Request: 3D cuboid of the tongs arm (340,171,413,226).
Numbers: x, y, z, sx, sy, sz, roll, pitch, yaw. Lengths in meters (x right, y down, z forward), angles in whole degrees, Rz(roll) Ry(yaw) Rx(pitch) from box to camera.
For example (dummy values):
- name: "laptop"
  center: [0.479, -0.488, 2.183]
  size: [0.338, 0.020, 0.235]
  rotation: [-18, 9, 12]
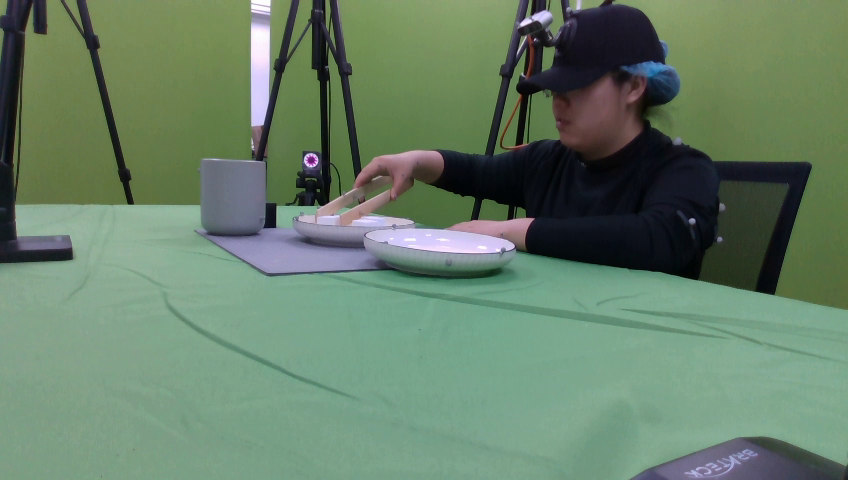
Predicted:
- name: "tongs arm"
  center: [-0.084, -0.088, 1.189]
  size: [0.028, 0.028, 0.388]
  rotation: [4, 17, 17]

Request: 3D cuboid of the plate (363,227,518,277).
- name: "plate"
  center: [0.022, 0.016, 0.817]
  size: [0.209, 0.038, 0.209]
  rotation: [4, 9, 0]

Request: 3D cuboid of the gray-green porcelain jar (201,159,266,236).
- name: "gray-green porcelain jar"
  center: [-0.326, -0.073, 1.036]
  size: [0.106, 0.126, 0.106]
  rotation: [3, 8, 0]

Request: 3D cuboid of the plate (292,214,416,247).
- name: "plate"
  center: [-0.118, -0.017, 1.024]
  size: [0.208, 0.039, 0.207]
  rotation: [3, 8, 0]

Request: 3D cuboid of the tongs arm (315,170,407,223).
- name: "tongs arm"
  center: [-0.112, -0.092, 1.197]
  size: [0.050, 0.026, 0.385]
  rotation: [7, 18, 14]
